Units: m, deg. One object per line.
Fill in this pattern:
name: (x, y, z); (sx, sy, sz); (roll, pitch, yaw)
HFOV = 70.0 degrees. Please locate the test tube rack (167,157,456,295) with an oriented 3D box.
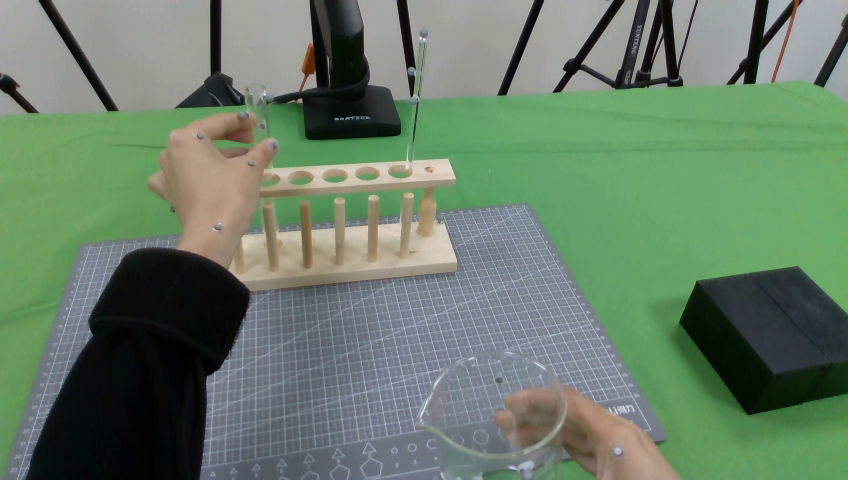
test tube rack: (-0.093, -0.015, 0.543); (0.243, 0.086, 0.066); (-5, 40, -10)

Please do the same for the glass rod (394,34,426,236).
glass rod: (-0.015, -0.080, 0.522); (0.008, 0.201, 0.008); (6, 41, -5)

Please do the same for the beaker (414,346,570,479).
beaker: (0.041, 0.124, 0.350); (0.084, 0.101, 0.073); (-11, 33, -5)

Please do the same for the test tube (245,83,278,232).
test tube: (-0.136, -0.063, 0.513); (0.017, 0.151, 0.017); (4, 43, -4)
